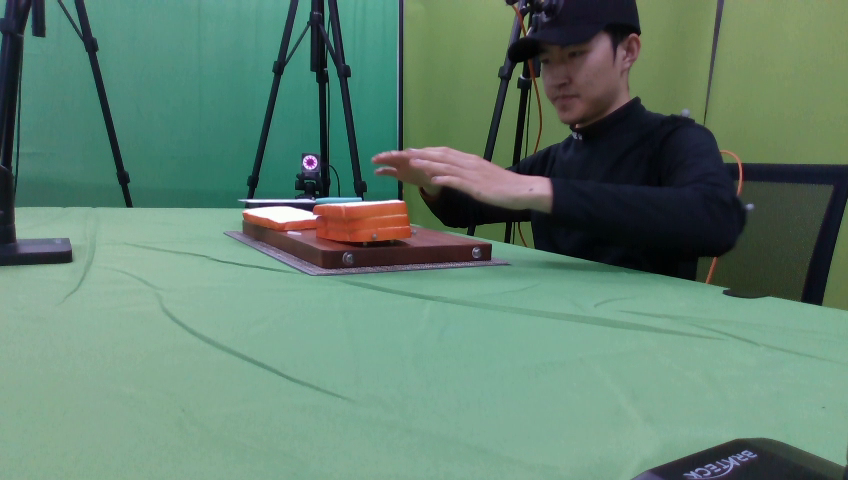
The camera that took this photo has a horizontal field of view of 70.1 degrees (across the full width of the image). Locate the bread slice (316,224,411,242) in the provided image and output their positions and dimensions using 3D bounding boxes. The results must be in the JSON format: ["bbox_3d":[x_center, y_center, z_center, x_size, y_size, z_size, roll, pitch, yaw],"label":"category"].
[{"bbox_3d":[-0.082,-0.010,0.848,0.107,0.018,0.133,-6,5,-28],"label":"bread slice"}]

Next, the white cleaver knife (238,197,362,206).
[{"bbox_3d":[-0.256,-0.086,1.295,0.288,0.021,0.065,-2,8,-41],"label":"white cleaver knife"}]

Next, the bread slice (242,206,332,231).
[{"bbox_3d":[-0.233,-0.036,1.001,0.131,0.019,0.105,13,16,40],"label":"bread slice"}]
